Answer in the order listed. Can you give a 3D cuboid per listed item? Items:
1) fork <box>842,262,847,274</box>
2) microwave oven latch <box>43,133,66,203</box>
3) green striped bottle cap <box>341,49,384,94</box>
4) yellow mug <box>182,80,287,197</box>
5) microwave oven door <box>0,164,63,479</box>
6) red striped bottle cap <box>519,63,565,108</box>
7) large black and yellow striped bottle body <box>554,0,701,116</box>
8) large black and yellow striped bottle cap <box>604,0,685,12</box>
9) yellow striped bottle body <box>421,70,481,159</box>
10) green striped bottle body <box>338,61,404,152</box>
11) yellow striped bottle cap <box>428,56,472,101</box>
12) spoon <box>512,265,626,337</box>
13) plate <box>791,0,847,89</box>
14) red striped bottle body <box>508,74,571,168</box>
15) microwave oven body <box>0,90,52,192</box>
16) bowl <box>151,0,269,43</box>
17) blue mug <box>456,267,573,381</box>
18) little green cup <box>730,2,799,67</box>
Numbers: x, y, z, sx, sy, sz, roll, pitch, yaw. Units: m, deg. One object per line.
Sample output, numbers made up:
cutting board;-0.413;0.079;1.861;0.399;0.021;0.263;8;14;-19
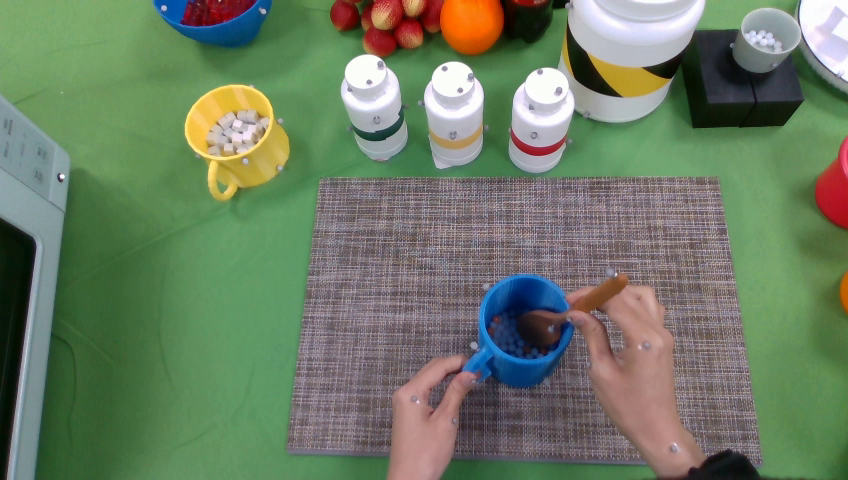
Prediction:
fork;0.474;0.055;0.531;0.028;0.019;0.205;-37;26;-9
microwave oven latch;-0.432;-0.081;0.693;0.030;0.030;0.078;-7;68;1
green striped bottle cap;-0.063;-0.173;0.622;0.044;0.020;0.044;-1;67;2
yellow mug;-0.220;-0.111;0.694;0.100;0.064;0.130;9;70;8
microwave oven door;-0.414;0.081;0.516;0.039;0.245;0.353;-9;67;1
red striped bottle cap;0.117;-0.154;0.600;0.044;0.018;0.044;0;66;0
large black and yellow striped bottle body;0.214;-0.235;0.648;0.131;0.185;0.130;-2;68;4
large black and yellow striped bottle cap;0.207;-0.265;0.570;0.115;0.019;0.114;-2;67;4
yellow striped bottle body;0.030;-0.144;0.659;0.063;0.121;0.062;-2;67;5
green striped bottle body;-0.058;-0.153;0.670;0.063;0.120;0.062;-1;68;4
yellow striped bottle cap;0.026;-0.164;0.612;0.044;0.019;0.044;-1;69;4
spoon;0.118;0.055;0.509;0.041;0.194;0.021;36;70;1
plate;0.534;-0.248;0.709;0.209;0.038;0.207;-1;68;4
red striped bottle body;0.123;-0.133;0.649;0.063;0.120;0.062;-2;66;6
microwave oven body;-0.563;0.065;0.539;0.326;0.262;0.438;-8;68;0
bowl;-0.259;-0.307;0.769;0.151;0.077;0.150;-1;68;3
blue mug;0.077;0.091;0.565;0.116;0.106;0.081;-36;69;-10
little green cup;0.365;-0.220;0.655;0.061;0.039;0.061;0;66;1
